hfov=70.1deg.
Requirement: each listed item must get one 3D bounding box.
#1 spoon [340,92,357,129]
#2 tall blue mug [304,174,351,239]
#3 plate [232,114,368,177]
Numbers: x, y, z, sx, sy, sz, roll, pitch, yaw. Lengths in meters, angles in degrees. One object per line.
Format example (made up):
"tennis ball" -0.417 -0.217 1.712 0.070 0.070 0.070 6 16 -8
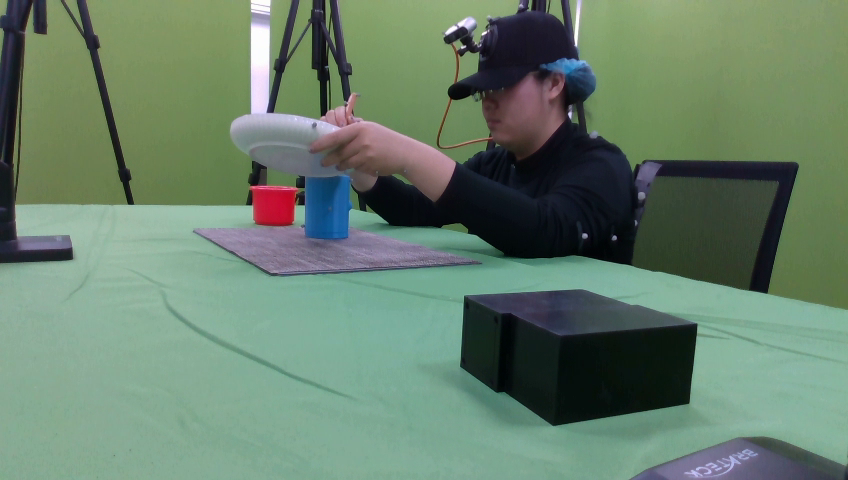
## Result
"spoon" -0.149 -0.194 1.067 0.041 0.022 0.193 -5 49 24
"tall blue mug" -0.179 -0.062 1.062 0.078 0.108 0.106 -5 11 -38
"plate" -0.193 -0.137 0.939 0.208 0.039 0.208 6 -11 1
